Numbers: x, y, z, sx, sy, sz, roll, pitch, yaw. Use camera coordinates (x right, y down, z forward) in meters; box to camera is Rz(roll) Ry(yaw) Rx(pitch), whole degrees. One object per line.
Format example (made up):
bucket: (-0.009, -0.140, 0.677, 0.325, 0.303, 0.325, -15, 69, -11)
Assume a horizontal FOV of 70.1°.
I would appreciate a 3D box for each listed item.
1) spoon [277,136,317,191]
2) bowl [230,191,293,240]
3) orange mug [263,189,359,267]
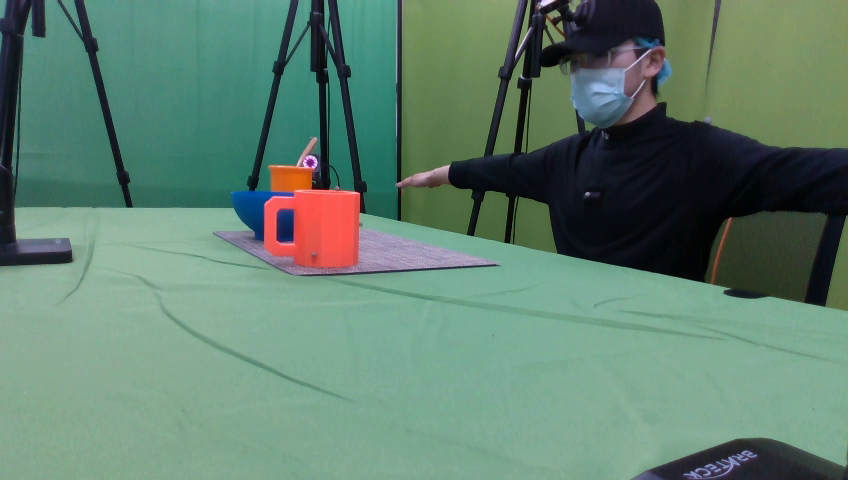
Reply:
spoon: (-0.258, -0.152, 1.247, 0.041, 0.193, 0.022, 2, -37, 21)
bowl: (-0.249, -0.042, 1.023, 0.151, 0.077, 0.151, 2, 7, 0)
orange mug: (-0.147, -0.019, 0.795, 0.127, 0.100, 0.083, 4, 6, -19)
